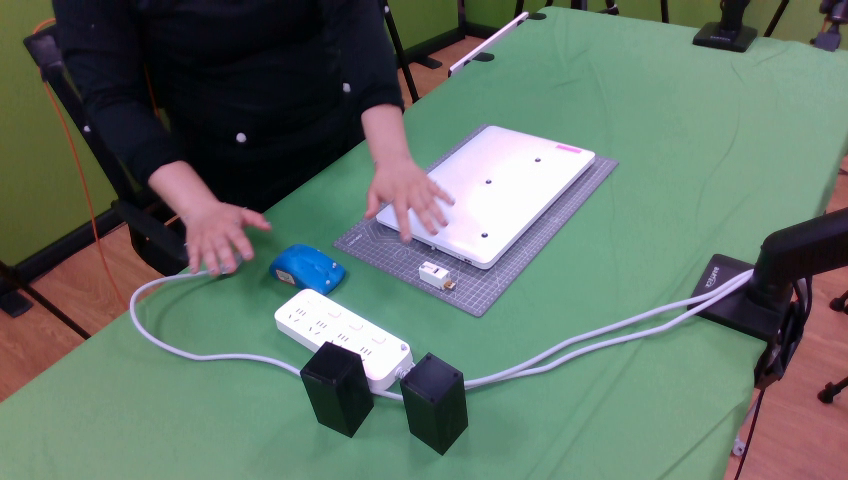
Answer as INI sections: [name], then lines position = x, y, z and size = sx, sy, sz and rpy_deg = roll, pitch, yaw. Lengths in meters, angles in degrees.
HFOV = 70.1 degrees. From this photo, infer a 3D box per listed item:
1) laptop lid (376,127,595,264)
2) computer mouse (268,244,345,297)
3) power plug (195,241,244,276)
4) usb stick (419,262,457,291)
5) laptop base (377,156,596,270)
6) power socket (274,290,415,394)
[laptop lid]
position = 0.112, -0.096, 1.050
size = 0.239, 0.013, 0.358
rpy_deg = 24, 49, 34
[computer mouse]
position = -0.182, 0.044, 0.933
size = 0.116, 0.041, 0.063
rpy_deg = 22, 46, 25
[power plug]
position = -0.318, 0.030, 0.948
size = 0.073, 0.052, 0.035
rpy_deg = -10, 16, -44
[usb stick]
position = 0.022, 0.056, 0.892
size = 0.058, 0.027, 0.021
rpy_deg = 26, 49, 31
[laptop base]
position = 0.115, -0.086, 1.056
size = 0.233, 0.023, 0.355
rpy_deg = 21, 48, 34
[power socket]
position = -0.114, 0.133, 0.820
size = 0.225, 0.033, 0.072
rpy_deg = 24, 48, 32
